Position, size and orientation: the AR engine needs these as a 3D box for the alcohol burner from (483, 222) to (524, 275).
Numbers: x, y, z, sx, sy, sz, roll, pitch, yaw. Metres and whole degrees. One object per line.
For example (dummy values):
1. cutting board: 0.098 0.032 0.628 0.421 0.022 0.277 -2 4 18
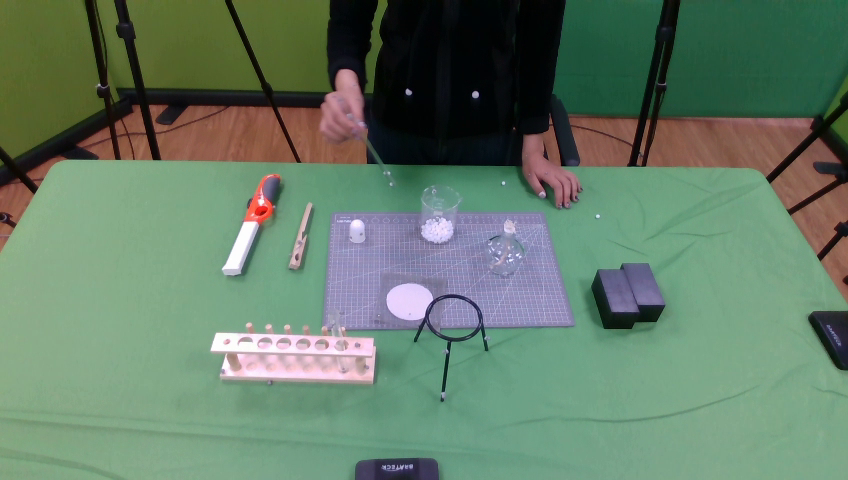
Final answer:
1. alcohol burner: 0.153 0.010 1.136 0.078 0.119 0.077 4 46 -4

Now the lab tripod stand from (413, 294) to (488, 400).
1. lab tripod stand: 0.045 0.159 0.972 0.148 0.132 0.147 2 44 -2

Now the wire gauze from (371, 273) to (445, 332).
1. wire gauze: -0.028 0.109 1.100 0.125 0.011 0.121 8 45 4

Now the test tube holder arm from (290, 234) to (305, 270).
1. test tube holder arm: -0.242 0.021 1.164 0.010 0.015 0.087 29 39 -25

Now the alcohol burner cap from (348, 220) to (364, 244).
1. alcohol burner cap: -0.134 -0.019 1.190 0.034 0.048 0.033 2 46 -2

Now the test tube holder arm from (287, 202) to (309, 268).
1. test tube holder arm: -0.246 -0.013 1.193 0.013 0.015 0.177 29 39 -26

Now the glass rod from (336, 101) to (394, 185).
1. glass rod: -0.100 -0.165 1.060 0.008 0.201 0.008 -18 43 18

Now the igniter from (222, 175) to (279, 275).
1. igniter: -0.341 -0.039 1.206 0.057 0.025 0.275 -1 45 9

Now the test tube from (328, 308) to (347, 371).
1. test tube: -0.132 0.155 0.926 0.017 0.151 0.017 0 45 0

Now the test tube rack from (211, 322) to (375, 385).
1. test tube rack: -0.202 0.176 0.969 0.242 0.085 0.066 3 46 -2

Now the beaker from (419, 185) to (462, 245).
1. beaker: 0.029 -0.047 1.191 0.084 0.101 0.073 -5 47 -10
